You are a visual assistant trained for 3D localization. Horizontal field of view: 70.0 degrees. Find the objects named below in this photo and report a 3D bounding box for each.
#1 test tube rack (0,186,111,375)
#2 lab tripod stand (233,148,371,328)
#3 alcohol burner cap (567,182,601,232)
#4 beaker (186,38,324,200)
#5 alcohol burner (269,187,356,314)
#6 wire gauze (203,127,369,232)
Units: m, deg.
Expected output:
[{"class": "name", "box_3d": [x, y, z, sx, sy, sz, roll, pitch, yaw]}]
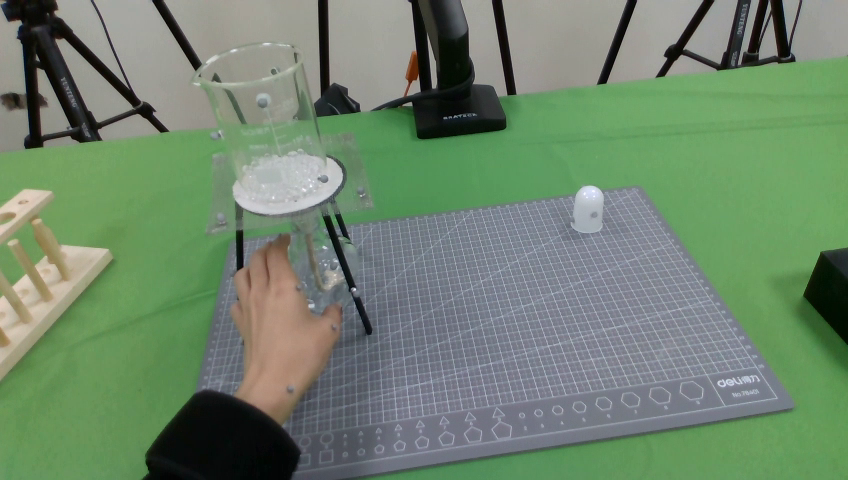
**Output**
[{"class": "test tube rack", "box_3d": [-0.392, 0.057, 0.533, 0.066, 0.086, 0.240, 5, 40, 12]}, {"class": "lab tripod stand", "box_3d": [-0.107, 0.000, 0.525, 0.148, 0.133, 0.147, -4, 41, 4]}, {"class": "alcohol burner cap", "box_3d": [0.162, -0.035, 0.610, 0.034, 0.048, 0.033, -4, 39, 3]}, {"class": "beaker", "box_3d": [-0.120, -0.087, 0.452, 0.084, 0.101, 0.073, -12, 39, -6]}, {"class": "alcohol burner", "box_3d": [-0.101, 0.006, 0.532, 0.078, 0.120, 0.077, -4, 37, 4]}, {"class": "wire gauze", "box_3d": [-0.112, -0.050, 0.483, 0.125, 0.011, 0.120, -13, 38, -5]}]
